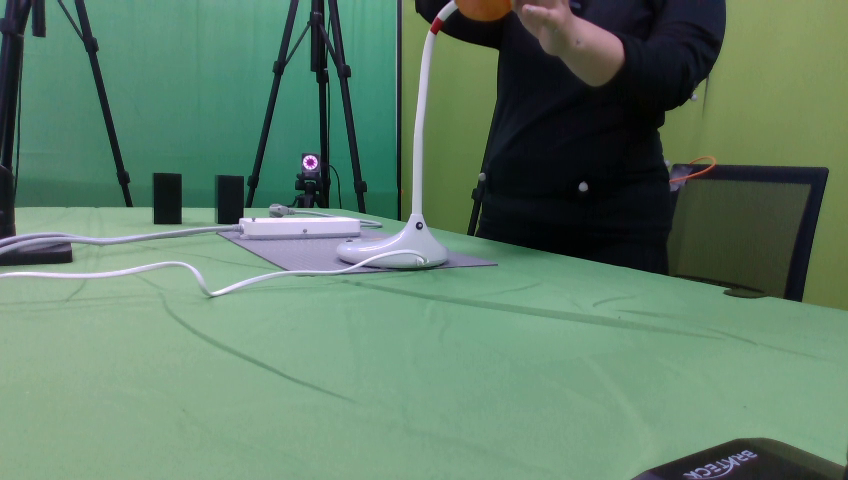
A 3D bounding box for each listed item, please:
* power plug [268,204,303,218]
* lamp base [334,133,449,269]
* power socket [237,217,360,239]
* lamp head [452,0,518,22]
[{"bbox_3d":[-0.327,-0.060,1.404,0.073,0.035,0.052,22,-14,-26],"label":"power plug"},{"bbox_3d":[-0.034,-0.057,0.831,0.161,0.180,0.178,-3,12,-36],"label":"lamp base"},{"bbox_3d":[-0.221,-0.023,1.080,0.228,0.032,0.072,-2,8,-33],"label":"power socket"},{"bbox_3d":[0.070,-0.318,0.700,0.112,0.122,0.112,7,-1,1],"label":"lamp head"}]
